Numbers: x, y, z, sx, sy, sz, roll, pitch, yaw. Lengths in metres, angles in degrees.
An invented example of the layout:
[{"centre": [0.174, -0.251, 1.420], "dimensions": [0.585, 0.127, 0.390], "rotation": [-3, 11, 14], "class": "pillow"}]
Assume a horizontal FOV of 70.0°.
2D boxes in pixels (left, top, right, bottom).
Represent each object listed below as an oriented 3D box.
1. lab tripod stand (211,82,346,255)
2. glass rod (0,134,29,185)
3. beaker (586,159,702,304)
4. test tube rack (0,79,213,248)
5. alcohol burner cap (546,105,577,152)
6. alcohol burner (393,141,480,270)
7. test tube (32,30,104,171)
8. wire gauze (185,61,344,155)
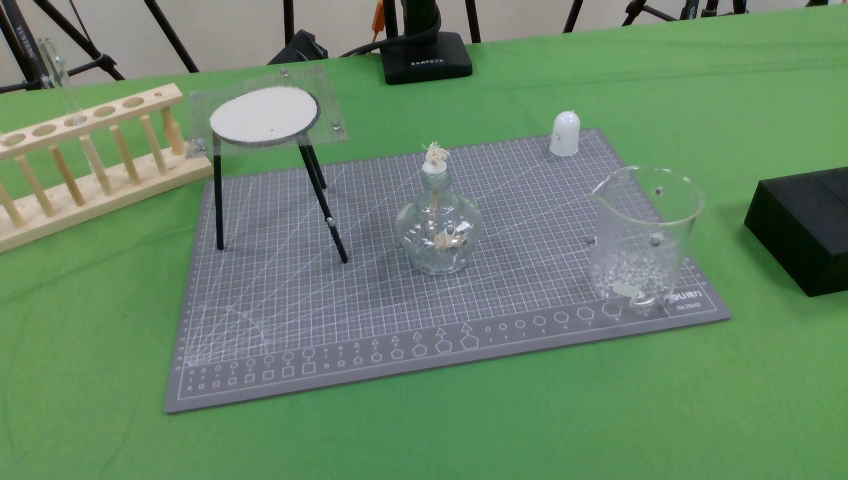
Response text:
[{"centre": [-0.132, -0.062, 0.549], "dimensions": [0.148, 0.133, 0.147], "rotation": [-2, 45, 3], "class": "lab tripod stand"}, {"centre": [-0.411, -0.114, 0.566], "dimensions": [0.008, 0.201, 0.008], "rotation": [-3, 45, 4], "class": "glass rod"}, {"centre": [0.170, -0.004, 0.490], "dimensions": [0.084, 0.101, 0.073], "rotation": [6, 43, 12], "class": "beaker"}, {"centre": [-0.356, -0.079, 0.624], "dimensions": [0.242, 0.086, 0.066], "rotation": [-26, 47, -22], "class": "test tube rack"}, {"centre": [0.152, -0.125, 0.665], "dimensions": [0.034, 0.048, 0.033], "rotation": [-2, 43, 2], "class": "alcohol burner cap"}, {"centre": [0.010, -0.032, 0.522], "dimensions": [0.078, 0.120, 0.077], "rotation": [-2, 41, 3], "class": "alcohol burner"}, {"centre": [-0.355, -0.134, 0.609], "dimensions": [0.017, 0.151, 0.017], "rotation": [-1, 39, 1], "class": "test tube"}, {"centre": [-0.136, -0.111, 0.503], "dimensions": [0.125, 0.011, 0.120], "rotation": [-13, 43, -9], "class": "wire gauze"}]
